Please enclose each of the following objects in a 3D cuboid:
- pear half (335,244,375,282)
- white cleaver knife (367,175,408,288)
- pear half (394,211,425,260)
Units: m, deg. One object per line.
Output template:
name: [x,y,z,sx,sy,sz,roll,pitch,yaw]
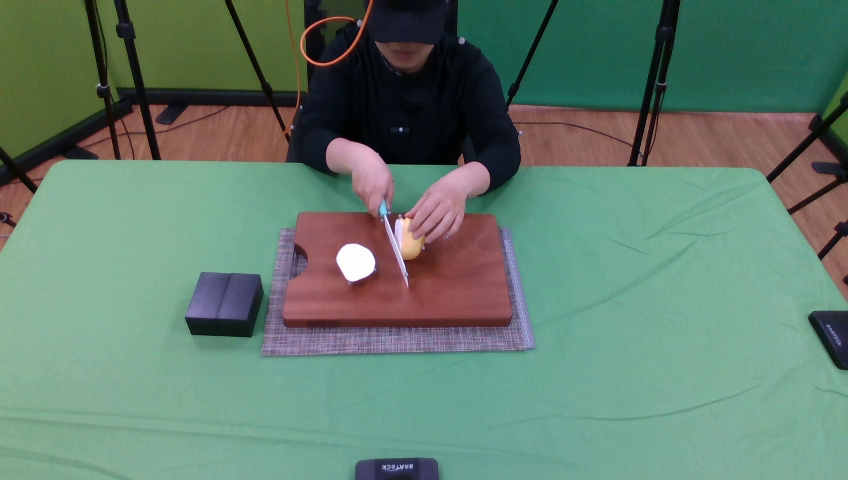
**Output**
pear half: [-0.127,0.048,1.095,0.070,0.031,0.087,17,49,-5]
white cleaver knife: [-0.072,-0.023,1.148,0.021,0.066,0.284,-11,46,-10]
pear half: [-0.025,-0.014,1.110,0.056,0.110,0.076,-10,51,-13]
